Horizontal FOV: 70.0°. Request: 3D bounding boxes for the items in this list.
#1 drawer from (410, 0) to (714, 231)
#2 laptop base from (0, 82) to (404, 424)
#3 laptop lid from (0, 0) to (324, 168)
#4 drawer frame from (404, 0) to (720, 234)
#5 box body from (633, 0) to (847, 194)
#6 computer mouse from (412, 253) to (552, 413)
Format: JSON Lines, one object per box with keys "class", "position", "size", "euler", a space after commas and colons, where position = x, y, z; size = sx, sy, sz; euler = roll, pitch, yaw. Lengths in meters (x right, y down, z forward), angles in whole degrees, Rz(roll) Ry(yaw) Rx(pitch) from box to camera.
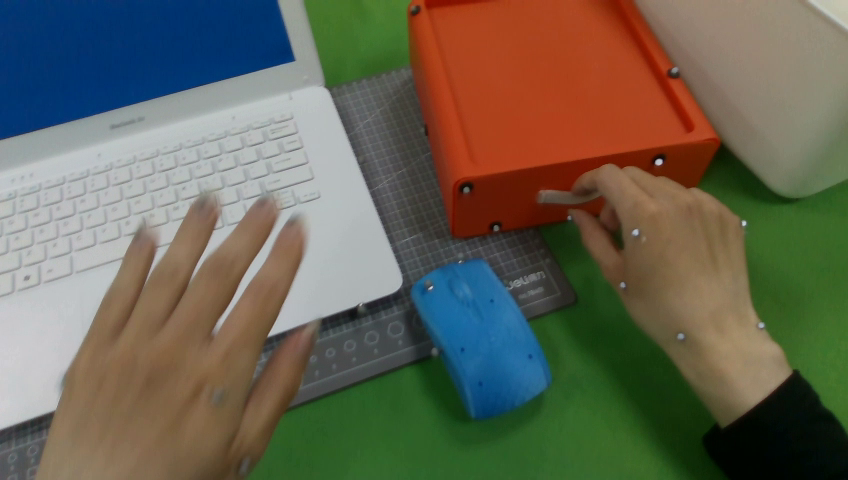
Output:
{"class": "drawer", "position": [0.100, -0.120, 0.512], "size": [0.195, 0.074, 0.209], "euler": [-10, 56, -5]}
{"class": "laptop base", "position": [-0.217, -0.001, 0.485], "size": [0.355, 0.023, 0.233], "euler": [-18, 61, -10]}
{"class": "laptop lid", "position": [-0.282, -0.192, 0.492], "size": [0.357, 0.243, 0.013], "euler": [-20, 28, -9]}
{"class": "drawer frame", "position": [0.099, -0.122, 0.512], "size": [0.202, 0.083, 0.211], "euler": [-11, 56, -5]}
{"class": "box body", "position": [0.320, -0.239, 0.534], "size": [0.254, 0.162, 0.360], "euler": [-23, 58, -12]}
{"class": "computer mouse", "position": [0.038, 0.059, 0.421], "size": [0.063, 0.041, 0.116], "euler": [-22, 57, -9]}
